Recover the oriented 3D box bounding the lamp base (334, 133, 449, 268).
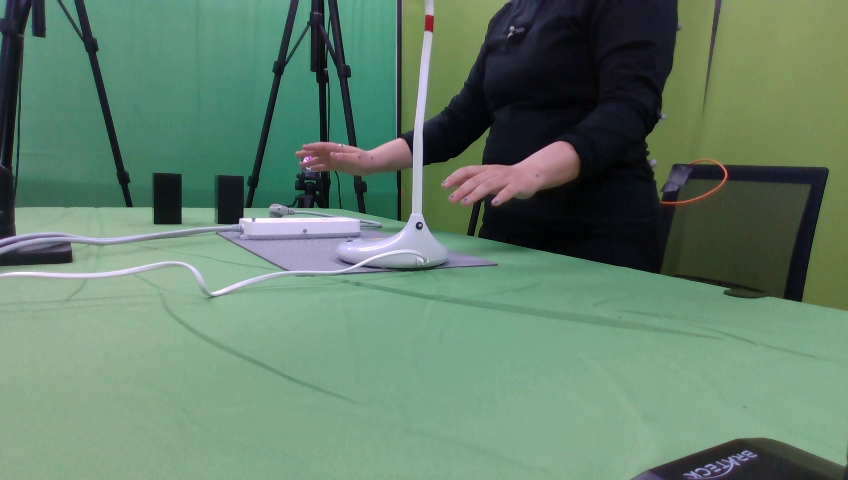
[{"bbox_3d":[-0.034,-0.057,0.831,0.161,0.180,0.178,-3,11,-36],"label":"lamp base"}]

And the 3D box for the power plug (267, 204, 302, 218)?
[{"bbox_3d":[-0.327,-0.060,1.404,0.073,0.035,0.052,22,-14,-26],"label":"power plug"}]

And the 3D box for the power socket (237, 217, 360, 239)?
[{"bbox_3d":[-0.221,-0.023,1.080,0.228,0.032,0.072,-2,8,-33],"label":"power socket"}]
